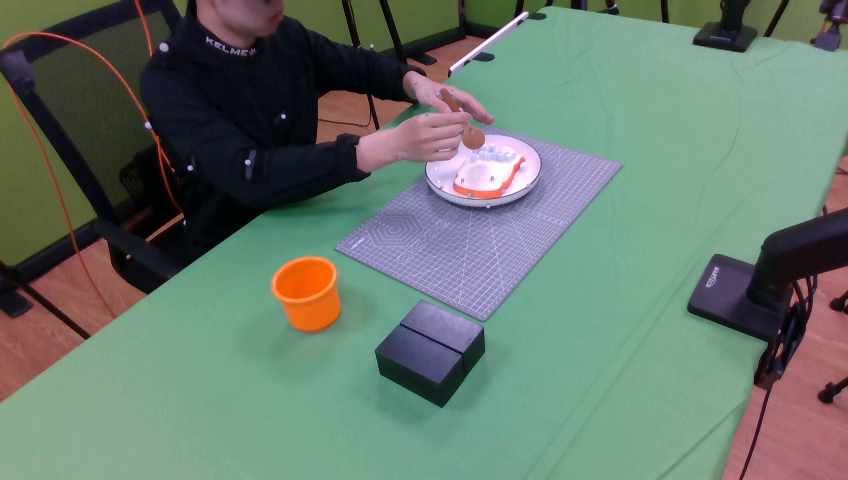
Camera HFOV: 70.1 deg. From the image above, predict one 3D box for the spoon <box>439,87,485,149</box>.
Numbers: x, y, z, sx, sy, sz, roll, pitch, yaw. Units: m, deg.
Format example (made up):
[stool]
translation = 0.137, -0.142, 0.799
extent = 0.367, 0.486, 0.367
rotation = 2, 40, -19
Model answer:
[spoon]
translation = 0.064, -0.200, 1.003
extent = 0.041, 0.195, 0.021
rotation = -26, 68, 11

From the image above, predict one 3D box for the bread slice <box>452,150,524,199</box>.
[bread slice]
translation = 0.112, -0.119, 1.079
extent = 0.104, 0.019, 0.131
rotation = 11, 43, 21

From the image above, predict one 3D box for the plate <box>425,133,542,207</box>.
[plate]
translation = 0.106, -0.121, 1.079
extent = 0.209, 0.038, 0.208
rotation = -4, 41, 4
